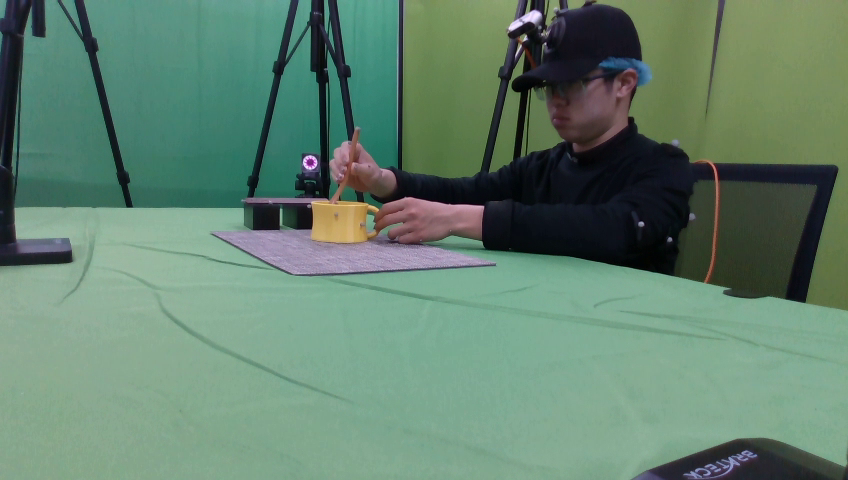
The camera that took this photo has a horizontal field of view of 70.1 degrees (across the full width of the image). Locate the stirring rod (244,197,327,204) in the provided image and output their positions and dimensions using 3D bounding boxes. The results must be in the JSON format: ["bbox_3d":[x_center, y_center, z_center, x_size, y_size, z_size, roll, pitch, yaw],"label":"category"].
[{"bbox_3d":[-0.270,-0.078,1.200,0.177,0.006,0.014,-2,44,-37],"label":"stirring rod"}]

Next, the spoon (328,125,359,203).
[{"bbox_3d":[-0.142,-0.103,1.039,0.022,0.193,0.041,20,4,-14],"label":"spoon"}]

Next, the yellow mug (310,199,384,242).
[{"bbox_3d":[-0.132,-0.035,1.055,0.131,0.064,0.099,0,8,-23],"label":"yellow mug"}]
